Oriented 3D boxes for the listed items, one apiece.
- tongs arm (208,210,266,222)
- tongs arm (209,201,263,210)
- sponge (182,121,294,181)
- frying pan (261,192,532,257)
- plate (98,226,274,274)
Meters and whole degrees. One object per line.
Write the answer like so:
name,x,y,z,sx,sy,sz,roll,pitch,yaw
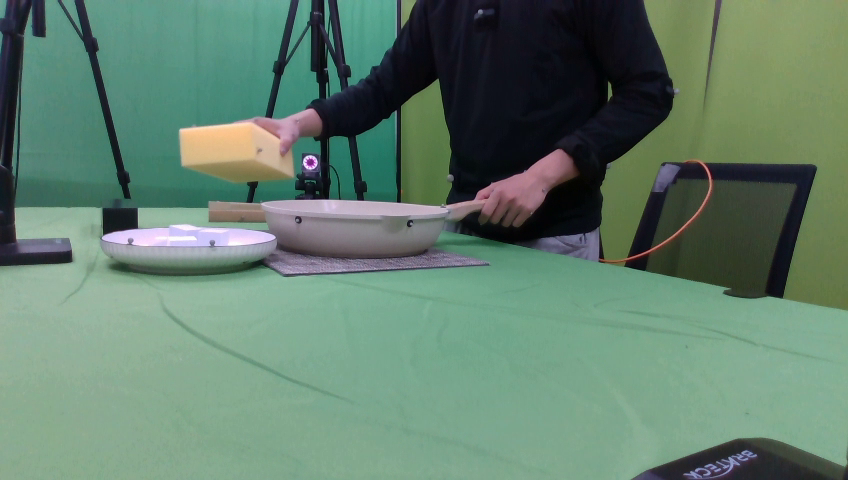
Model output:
tongs arm,-0.280,-0.055,1.355,0.389,0.028,0.028,-1,6,-28
tongs arm,-0.306,-0.070,1.430,0.386,0.026,0.050,2,9,-15
sponge,-0.313,-0.149,1.048,0.118,0.061,0.207,-5,-2,4
frying pan,-0.016,-0.043,1.006,0.490,0.102,0.305,-11,13,-26
plate,-0.301,0.012,0.778,0.208,0.039,0.207,3,7,0
